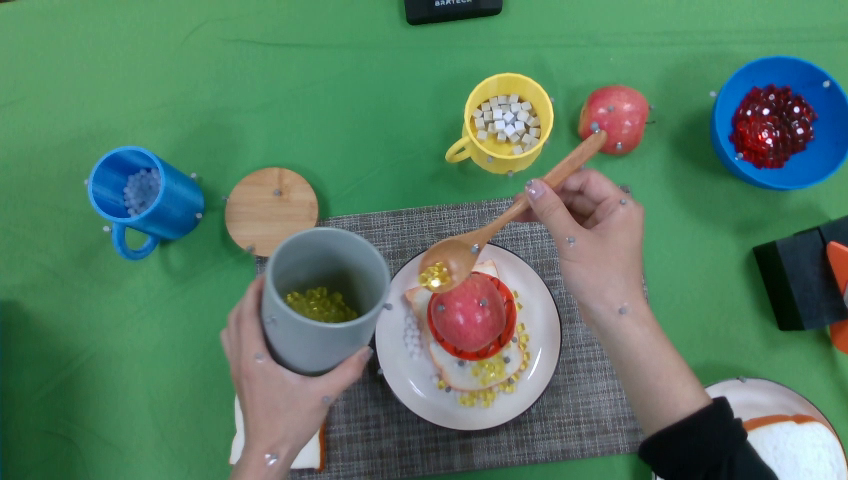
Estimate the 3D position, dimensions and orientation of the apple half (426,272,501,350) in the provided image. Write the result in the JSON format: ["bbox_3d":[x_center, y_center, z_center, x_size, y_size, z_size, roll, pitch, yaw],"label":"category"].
[{"bbox_3d":[0.042,0.073,0.618,0.081,0.033,0.081,-1,80,7],"label":"apple half"}]

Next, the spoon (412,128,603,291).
[{"bbox_3d":[0.064,-0.021,0.484,0.194,0.021,0.042,-39,96,25],"label":"spoon"}]

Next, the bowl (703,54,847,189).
[{"bbox_3d":[0.383,-0.124,0.689,0.151,0.077,0.151,0,82,1],"label":"bowl"}]

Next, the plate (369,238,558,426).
[{"bbox_3d":[0.043,0.099,0.679,0.208,0.039,0.207,0,82,1],"label":"plate"}]

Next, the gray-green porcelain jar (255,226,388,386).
[{"bbox_3d":[-0.099,0.066,0.557,0.106,0.127,0.105,11,49,-13],"label":"gray-green porcelain jar"}]

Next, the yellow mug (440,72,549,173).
[{"bbox_3d":[0.076,-0.127,0.700,0.131,0.064,0.099,-30,82,-3],"label":"yellow mug"}]

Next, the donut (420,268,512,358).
[{"bbox_3d":[0.046,0.079,0.653,0.099,0.048,0.098,0,82,1],"label":"donut"}]

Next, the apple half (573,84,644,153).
[{"bbox_3d":[0.218,-0.147,0.708,0.074,0.053,0.080,16,83,6],"label":"apple half"}]

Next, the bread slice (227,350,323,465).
[{"bbox_3d":[-0.166,0.186,0.681,0.105,0.019,0.131,1,84,0],"label":"bread slice"}]

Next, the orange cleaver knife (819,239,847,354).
[{"bbox_3d":[0.463,0.102,0.653,0.012,0.077,0.212,-18,103,-9],"label":"orange cleaver knife"}]

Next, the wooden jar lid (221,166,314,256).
[{"bbox_3d":[-0.182,-0.033,0.711,0.108,0.021,0.108,0,78,2],"label":"wooden jar lid"}]

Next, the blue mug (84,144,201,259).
[{"bbox_3d":[-0.313,-0.035,0.672,0.082,0.106,0.116,14,82,3],"label":"blue mug"}]

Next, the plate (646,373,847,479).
[{"bbox_3d":[0.342,0.248,0.656,0.209,0.038,0.208,0,82,1],"label":"plate"}]

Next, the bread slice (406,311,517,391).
[{"bbox_3d":[0.045,0.103,0.692,0.107,0.018,0.133,-25,71,-8],"label":"bread slice"}]
